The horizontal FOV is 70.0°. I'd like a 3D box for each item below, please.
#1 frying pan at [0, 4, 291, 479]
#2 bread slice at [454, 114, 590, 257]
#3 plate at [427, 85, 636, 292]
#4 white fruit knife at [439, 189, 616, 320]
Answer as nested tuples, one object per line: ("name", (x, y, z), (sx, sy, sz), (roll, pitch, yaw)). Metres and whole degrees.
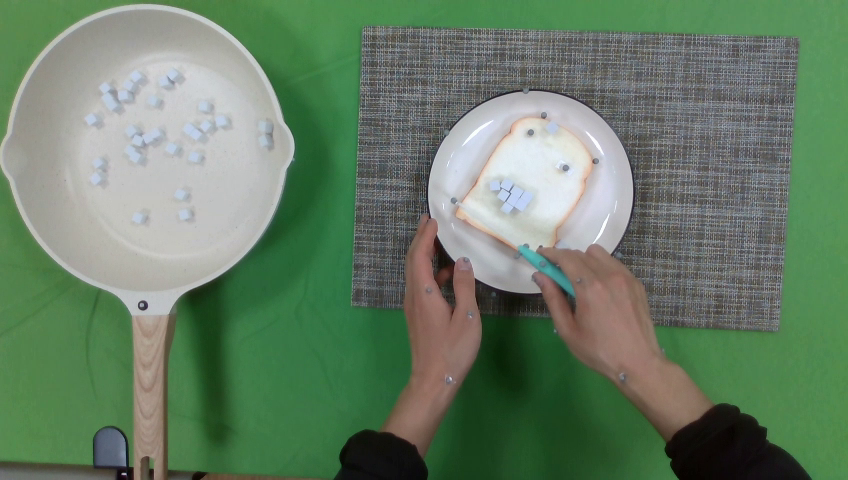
("frying pan", (-0.279, 0.014, 0.623), (0.306, 0.103, 0.486), (-1, 84, 5))
("bread slice", (0.105, -0.059, 0.625), (0.107, 0.018, 0.134), (26, 95, 2))
("plate", (0.107, -0.051, 0.623), (0.207, 0.039, 0.207), (0, 92, 4))
("white fruit knife", (0.096, 0.011, 0.581), (0.206, 0.027, 0.016), (37, 89, 12))
